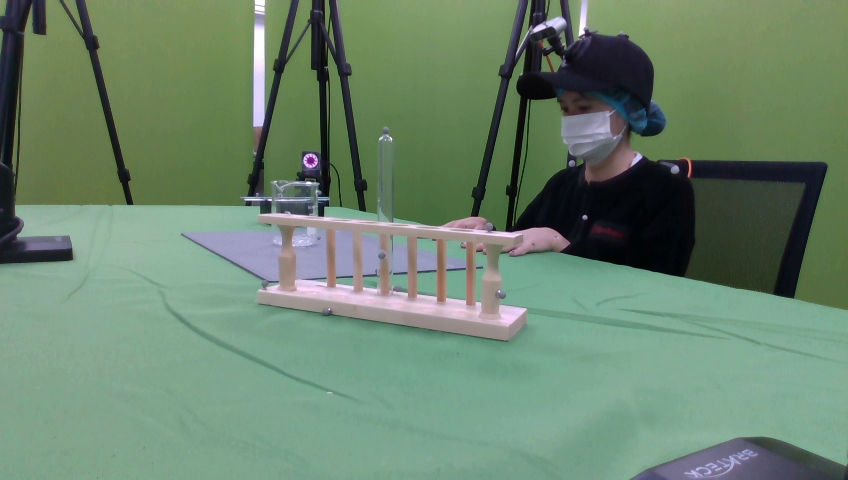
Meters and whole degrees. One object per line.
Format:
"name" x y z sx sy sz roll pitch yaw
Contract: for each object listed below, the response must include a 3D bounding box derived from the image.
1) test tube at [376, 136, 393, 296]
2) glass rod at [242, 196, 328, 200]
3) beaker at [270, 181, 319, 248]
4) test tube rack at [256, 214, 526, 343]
"test tube" -0.037 -0.021 0.565 0.017 0.150 0.017 1 6 0
"glass rod" -0.287 -0.089 1.268 0.201 0.008 0.008 -4 10 -43
"beaker" -0.203 -0.040 0.935 0.074 0.100 0.084 5 8 18
"test tube rack" -0.032 0.027 0.547 0.241 0.085 0.067 6 7 22
